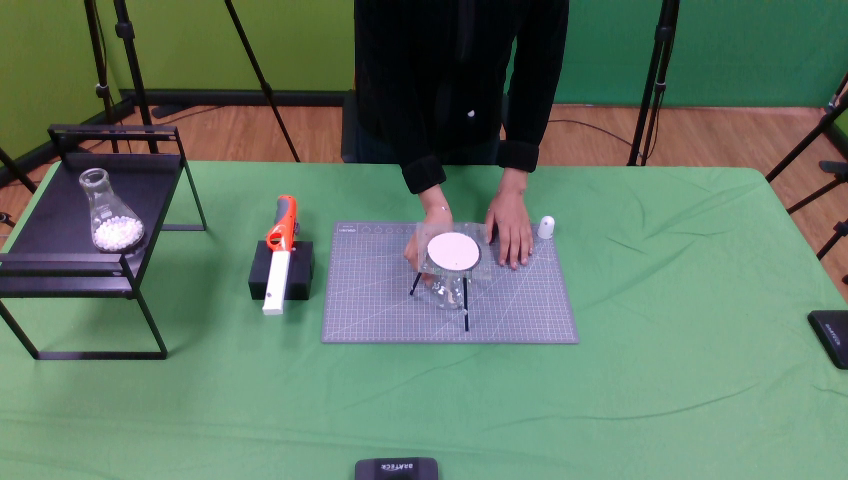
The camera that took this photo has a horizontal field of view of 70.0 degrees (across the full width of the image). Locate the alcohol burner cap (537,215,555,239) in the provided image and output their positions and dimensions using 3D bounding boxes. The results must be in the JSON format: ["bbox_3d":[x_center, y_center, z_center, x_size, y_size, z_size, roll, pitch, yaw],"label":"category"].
[{"bbox_3d":[0.249,-0.029,1.228,0.034,0.048,0.033,1,48,-1],"label":"alcohol burner cap"}]

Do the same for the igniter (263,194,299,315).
[{"bbox_3d":[-0.259,0.016,1.093,0.057,0.025,0.274,-3,49,-2],"label":"igniter"}]

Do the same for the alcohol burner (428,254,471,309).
[{"bbox_3d":[0.047,0.068,1.070,0.078,0.119,0.077,3,46,-3],"label":"alcohol burner"}]

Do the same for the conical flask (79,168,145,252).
[{"bbox_3d":[-0.463,-0.048,0.888,0.075,0.122,0.075,2,46,-2],"label":"conical flask"}]

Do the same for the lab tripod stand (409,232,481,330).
[{"bbox_3d":[0.051,0.064,1.060,0.148,0.132,0.147,4,46,-4],"label":"lab tripod stand"}]

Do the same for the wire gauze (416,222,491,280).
[{"bbox_3d":[0.047,0.014,1.013,0.125,0.011,0.120,3,47,-3],"label":"wire gauze"}]
